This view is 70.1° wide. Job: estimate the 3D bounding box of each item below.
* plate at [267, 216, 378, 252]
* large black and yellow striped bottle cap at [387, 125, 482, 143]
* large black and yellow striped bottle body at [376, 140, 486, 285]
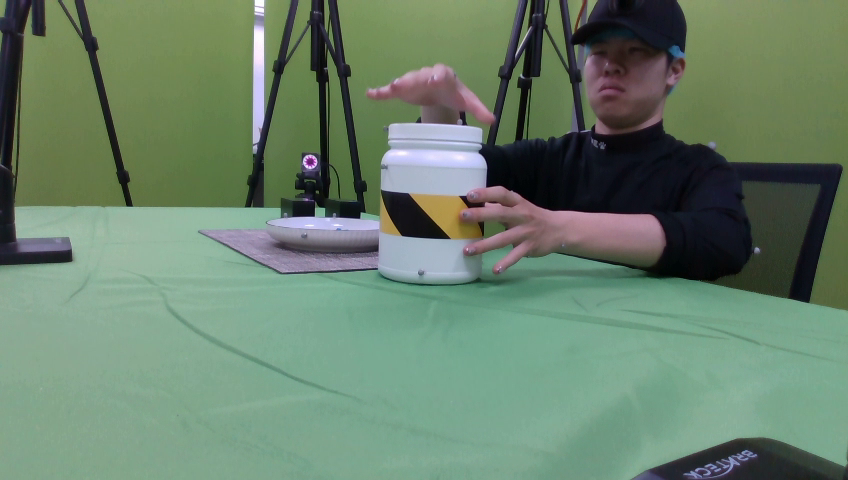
[{"bbox_3d":[-0.145,-0.010,0.967,0.208,0.039,0.207,2,7,0],"label":"plate"},{"bbox_3d":[0.013,-0.127,0.731,0.115,0.019,0.115,1,6,0],"label":"large black and yellow striped bottle cap"},{"bbox_3d":[0.009,-0.044,0.744,0.131,0.184,0.130,3,7,0],"label":"large black and yellow striped bottle body"}]
